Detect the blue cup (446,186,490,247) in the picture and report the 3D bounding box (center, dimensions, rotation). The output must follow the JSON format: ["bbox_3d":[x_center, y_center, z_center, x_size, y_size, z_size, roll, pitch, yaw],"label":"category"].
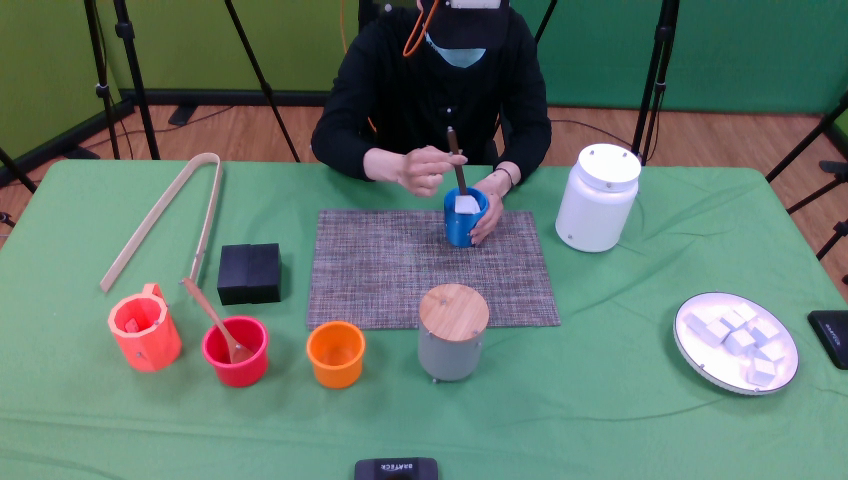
[{"bbox_3d":[0.080,-0.040,1.187,0.093,0.100,0.092,4,46,-3],"label":"blue cup"}]

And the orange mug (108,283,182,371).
[{"bbox_3d":[-0.445,0.134,0.983,0.083,0.101,0.125,-1,50,-5],"label":"orange mug"}]

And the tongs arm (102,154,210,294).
[{"bbox_3d":[-0.524,-0.046,1.203,0.028,0.028,0.385,4,45,13],"label":"tongs arm"}]

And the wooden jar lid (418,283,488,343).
[{"bbox_3d":[0.045,0.114,0.931,0.108,0.021,0.107,2,49,-2],"label":"wooden jar lid"}]

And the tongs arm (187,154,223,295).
[{"bbox_3d":[-0.442,-0.045,1.199,0.051,0.027,0.382,-3,46,1],"label":"tongs arm"}]

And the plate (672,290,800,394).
[{"bbox_3d":[0.533,0.179,1.050,0.208,0.039,0.206,2,46,-2],"label":"plate"}]

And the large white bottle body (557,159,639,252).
[{"bbox_3d":[0.340,-0.081,1.185,0.131,0.185,0.130,2,46,-2],"label":"large white bottle body"}]

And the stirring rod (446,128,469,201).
[{"bbox_3d":[0.060,-0.130,1.075,0.014,0.177,0.006,-23,49,-4],"label":"stirring rod"}]

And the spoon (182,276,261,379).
[{"bbox_3d":[-0.321,0.137,0.957,0.041,0.021,0.194,-36,102,-32],"label":"spoon"}]

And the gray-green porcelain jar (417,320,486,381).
[{"bbox_3d":[0.042,0.158,0.975,0.106,0.127,0.105,2,46,-2],"label":"gray-green porcelain jar"}]

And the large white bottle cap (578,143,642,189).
[{"bbox_3d":[0.344,-0.139,1.123,0.115,0.018,0.114,2,47,-2],"label":"large white bottle cap"}]
